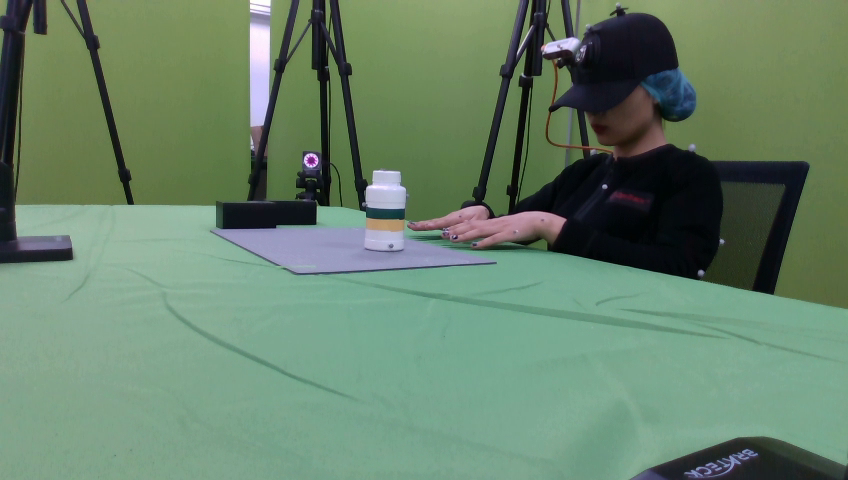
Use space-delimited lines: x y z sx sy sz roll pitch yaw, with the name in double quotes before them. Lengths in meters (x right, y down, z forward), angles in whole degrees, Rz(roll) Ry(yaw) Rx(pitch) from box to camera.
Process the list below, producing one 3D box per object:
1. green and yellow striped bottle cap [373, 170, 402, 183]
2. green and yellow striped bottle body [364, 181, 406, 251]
"green and yellow striped bottle cap" -0.057 -0.097 0.929 0.045 0.020 0.045 1 9 0
"green and yellow striped bottle body" -0.060 -0.046 0.935 0.063 0.119 0.063 3 8 0
